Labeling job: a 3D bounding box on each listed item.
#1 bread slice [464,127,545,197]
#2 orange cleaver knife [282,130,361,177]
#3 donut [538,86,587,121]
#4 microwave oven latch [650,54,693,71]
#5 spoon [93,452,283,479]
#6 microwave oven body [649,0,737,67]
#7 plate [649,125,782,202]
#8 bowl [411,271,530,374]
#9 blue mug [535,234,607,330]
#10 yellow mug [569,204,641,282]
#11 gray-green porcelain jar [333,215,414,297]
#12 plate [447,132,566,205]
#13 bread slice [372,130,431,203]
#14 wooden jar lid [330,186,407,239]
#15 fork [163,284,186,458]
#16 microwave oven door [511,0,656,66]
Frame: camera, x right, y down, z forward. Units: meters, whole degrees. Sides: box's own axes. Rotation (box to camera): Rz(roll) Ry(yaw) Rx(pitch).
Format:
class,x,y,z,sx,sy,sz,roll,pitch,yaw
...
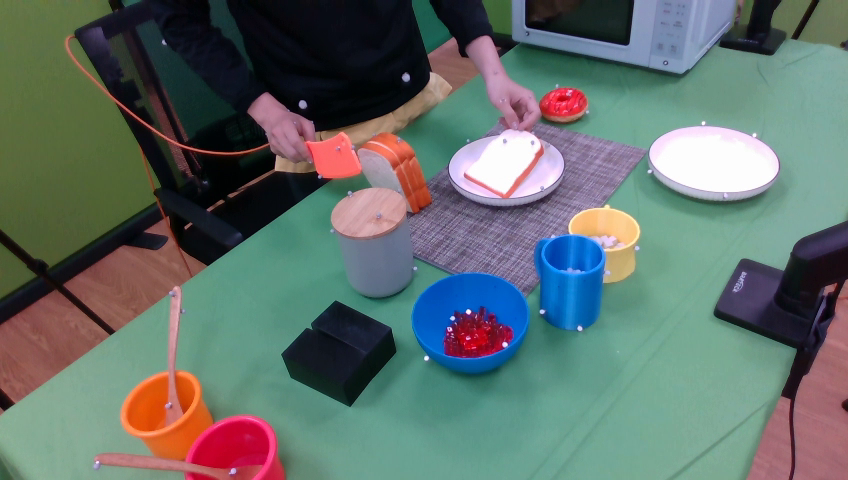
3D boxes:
class,x,y,z,sx,sy,sz,roll,pitch,yaw
bread slice,0.146,-0.144,1.070,0.104,0.019,0.131,33,79,33
orange cleaver knife,-0.174,-0.142,1.004,0.012,0.077,0.209,-30,25,-36
donut,0.283,-0.280,1.239,0.099,0.048,0.098,-5,42,5
microwave oven latch,0.531,-0.386,1.301,0.078,0.029,0.030,26,51,33
spoon,-0.240,0.239,0.632,0.195,0.021,0.041,26,33,-32
microwave oven body,0.475,-0.602,1.411,0.438,0.261,0.327,23,50,32
plate,0.493,-0.127,1.036,0.207,0.039,0.206,-4,41,4
bowl,0.061,0.120,0.780,0.151,0.077,0.150,-4,40,4
blue mug,0.191,0.048,0.824,0.082,0.106,0.115,-26,44,-20
yellow mug,0.268,-0.005,0.904,0.099,0.064,0.130,7,41,15
gray-green porcelain jar,-0.071,0.012,0.887,0.106,0.127,0.105,-4,41,4
plate,0.146,-0.124,1.076,0.209,0.038,0.208,-4,41,4
bread slice,-0.041,-0.127,1.039,0.106,0.135,0.018,30,62,33
wooden jar lid,-0.077,-0.035,0.846,0.108,0.021,0.108,-5,41,5
fork,-0.302,0.157,0.733,0.028,0.019,0.207,-3,84,15
microwave oven door,0.350,-0.539,1.349,0.353,0.245,0.039,24,50,31
